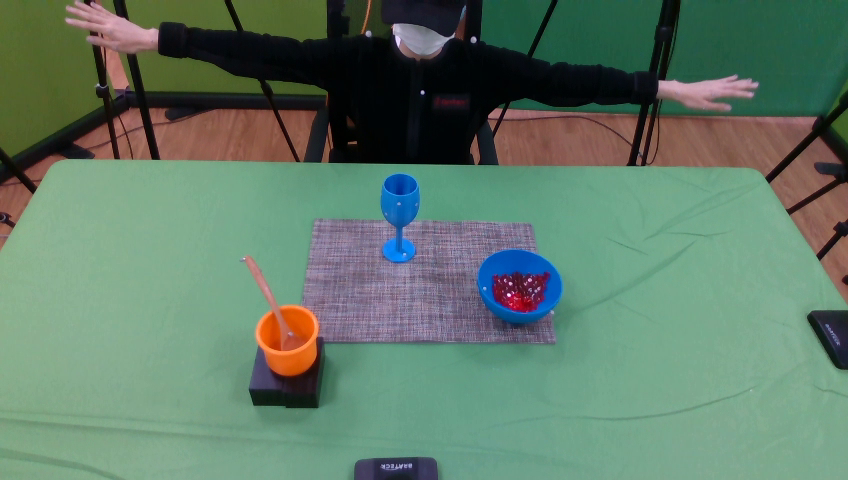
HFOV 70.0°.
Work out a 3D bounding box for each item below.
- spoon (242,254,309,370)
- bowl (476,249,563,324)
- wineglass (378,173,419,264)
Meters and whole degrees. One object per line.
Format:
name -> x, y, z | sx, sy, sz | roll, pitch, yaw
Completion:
spoon -> -0.226, 0.108, 0.917 | 0.041, 0.194, 0.021 | -28, 9, -31
bowl -> 0.163, 0.096, 1.073 | 0.151, 0.077, 0.150 | 2, 45, -2
wineglass -> -0.047, -0.037, 1.121 | 0.074, 0.173, 0.073 | 2, 46, -2
